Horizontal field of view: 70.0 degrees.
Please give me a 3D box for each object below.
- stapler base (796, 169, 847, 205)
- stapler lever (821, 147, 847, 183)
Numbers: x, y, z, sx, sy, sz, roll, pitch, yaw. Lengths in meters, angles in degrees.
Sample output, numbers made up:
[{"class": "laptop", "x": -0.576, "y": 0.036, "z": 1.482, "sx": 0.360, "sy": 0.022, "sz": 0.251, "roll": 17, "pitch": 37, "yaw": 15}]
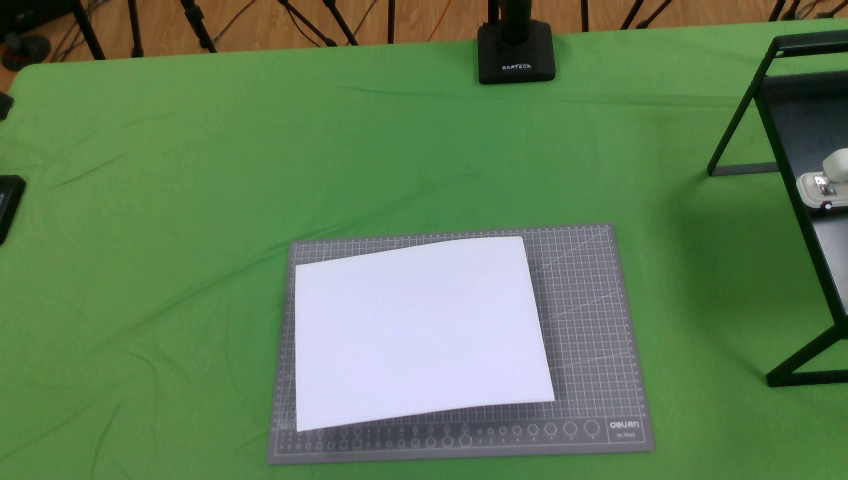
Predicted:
[{"class": "stapler base", "x": 0.449, "y": -0.062, "z": 0.611, "sx": 0.130, "sy": 0.024, "sz": 0.041, "roll": -4, "pitch": 65, "yaw": 1}, {"class": "stapler lever", "x": 0.449, "y": -0.074, "z": 0.589, "sx": 0.118, "sy": 0.040, "sz": 0.026, "roll": -4, "pitch": 64, "yaw": 2}]
